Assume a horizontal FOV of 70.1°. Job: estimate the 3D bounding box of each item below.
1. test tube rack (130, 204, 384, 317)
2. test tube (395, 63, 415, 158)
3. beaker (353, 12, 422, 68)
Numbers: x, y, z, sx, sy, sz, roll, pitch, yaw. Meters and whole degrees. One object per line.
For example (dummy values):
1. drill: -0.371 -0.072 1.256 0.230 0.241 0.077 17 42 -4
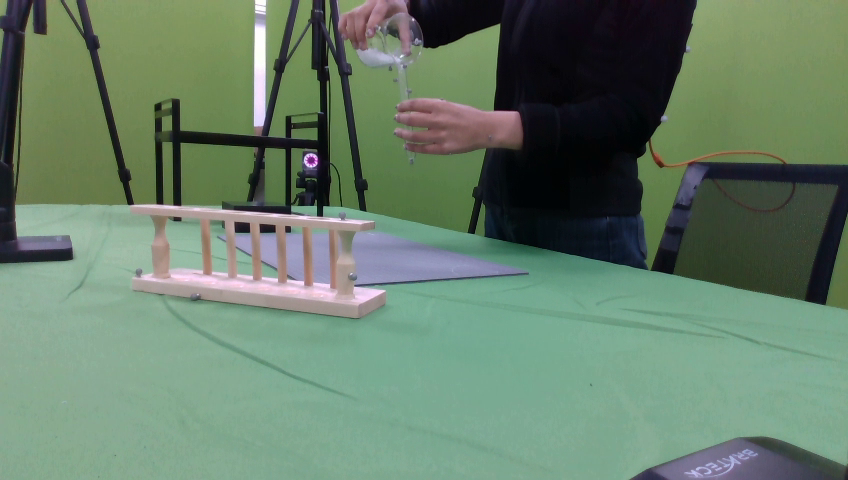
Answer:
1. test tube rack: -0.163 0.013 0.589 0.242 0.085 0.067 4 8 17
2. test tube: -0.029 -0.200 0.934 0.017 0.150 0.017 -6 -6 0
3. beaker: -0.062 -0.315 0.975 0.074 0.084 0.100 1 7 -37
